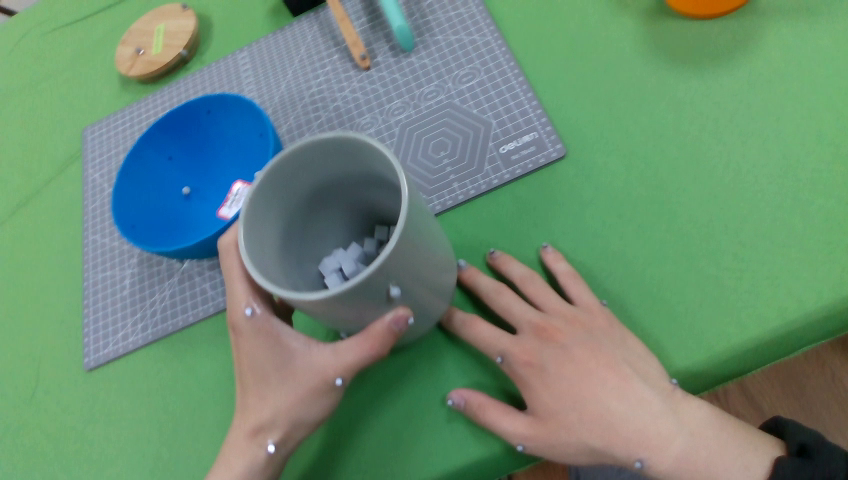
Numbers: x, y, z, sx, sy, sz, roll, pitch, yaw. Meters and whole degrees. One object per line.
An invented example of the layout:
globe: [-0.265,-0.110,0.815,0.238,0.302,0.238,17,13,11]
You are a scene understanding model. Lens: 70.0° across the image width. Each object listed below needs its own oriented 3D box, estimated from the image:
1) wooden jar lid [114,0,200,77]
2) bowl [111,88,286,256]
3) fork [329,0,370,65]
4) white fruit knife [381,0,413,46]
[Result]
wooden jar lid: [-0.301,-0.228,0.689,0.108,0.021,0.107,-7,62,14]
bowl: [-0.174,-0.045,0.514,0.151,0.077,0.150,-8,62,16]
fork: [-0.099,-0.259,0.593,0.028,0.019,0.206,-26,77,1]
white fruit knife: [-0.053,-0.277,0.587,0.016,0.027,0.206,-24,73,6]
